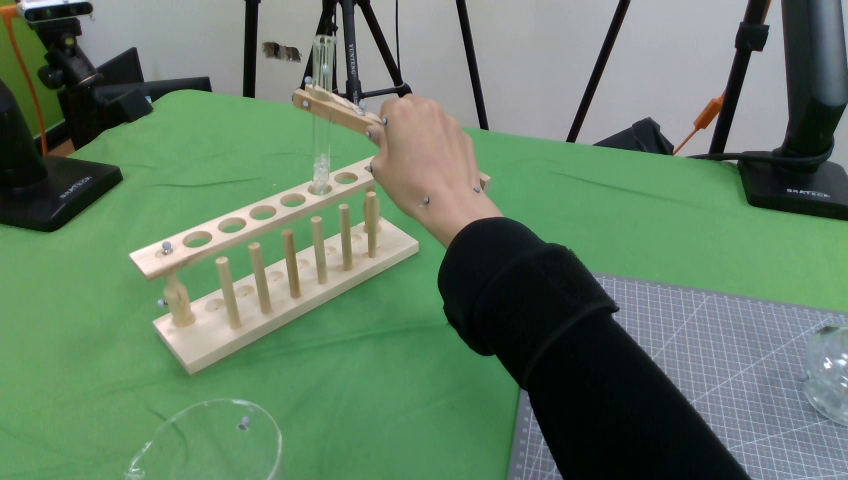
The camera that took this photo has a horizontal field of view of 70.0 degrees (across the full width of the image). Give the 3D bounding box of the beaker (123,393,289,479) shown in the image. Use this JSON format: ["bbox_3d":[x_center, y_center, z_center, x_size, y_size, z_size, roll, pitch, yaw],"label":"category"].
[{"bbox_3d":[-0.115,0.149,0.345,0.084,0.101,0.073,-6,38,-8],"label":"beaker"}]

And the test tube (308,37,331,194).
[{"bbox_3d":[-0.089,-0.097,0.510,0.017,0.151,0.017,6,41,-5],"label":"test tube"}]

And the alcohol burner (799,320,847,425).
[{"bbox_3d":[0.322,0.077,0.437,0.078,0.120,0.077,1,35,0],"label":"alcohol burner"}]

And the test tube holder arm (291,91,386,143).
[{"bbox_3d":[-0.068,-0.099,0.487,0.087,0.015,0.010,23,44,13],"label":"test tube holder arm"}]

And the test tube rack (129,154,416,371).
[{"bbox_3d":[-0.119,0.010,0.541,0.242,0.086,0.066,-28,46,-33],"label":"test tube rack"}]

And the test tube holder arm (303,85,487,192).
[{"bbox_3d":[-0.027,-0.083,0.478,0.177,0.015,0.013,29,46,19],"label":"test tube holder arm"}]
